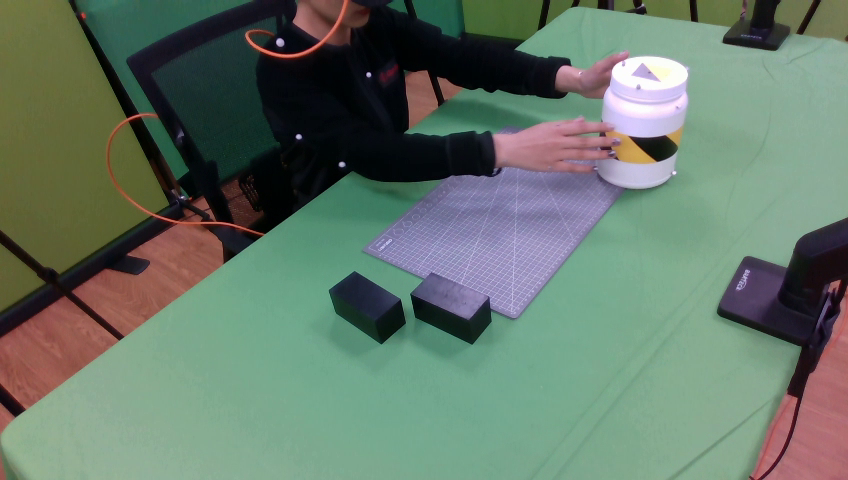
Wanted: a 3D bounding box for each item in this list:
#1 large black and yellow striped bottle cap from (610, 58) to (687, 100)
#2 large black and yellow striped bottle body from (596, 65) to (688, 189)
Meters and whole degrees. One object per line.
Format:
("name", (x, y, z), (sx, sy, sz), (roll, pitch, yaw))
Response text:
("large black and yellow striped bottle cap", (0.355, -0.257, 0.958), (0.115, 0.019, 0.114), (-2, 41, 3))
("large black and yellow striped bottle body", (0.363, -0.192, 1.011), (0.131, 0.185, 0.130), (-4, 40, 4))
